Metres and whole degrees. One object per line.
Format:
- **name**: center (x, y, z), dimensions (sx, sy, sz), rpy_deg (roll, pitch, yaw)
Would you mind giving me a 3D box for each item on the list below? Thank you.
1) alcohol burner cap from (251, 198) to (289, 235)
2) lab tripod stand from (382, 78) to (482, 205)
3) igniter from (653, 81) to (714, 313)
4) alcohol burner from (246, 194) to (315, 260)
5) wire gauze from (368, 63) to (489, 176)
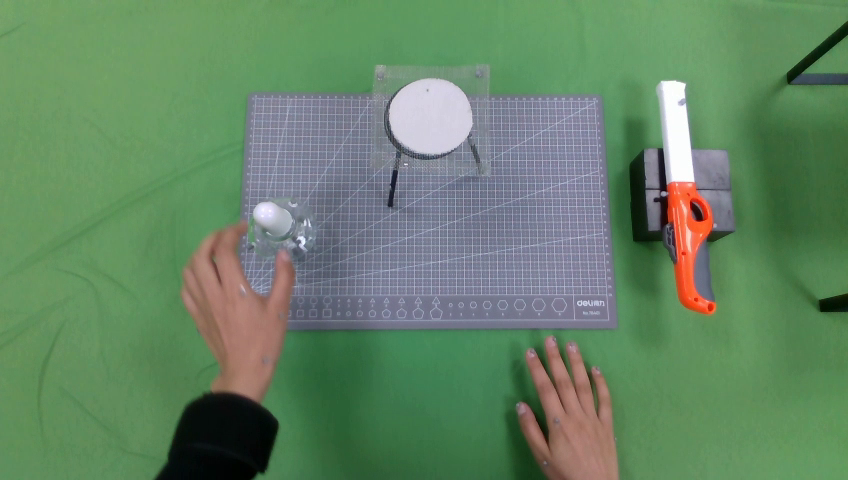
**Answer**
- **alcohol burner cap**: center (-0.165, -0.026, 0.637), dimensions (0.034, 0.048, 0.033), rpy_deg (-1, 77, 6)
- **lab tripod stand**: center (-0.002, -0.115, 0.688), dimensions (0.148, 0.132, 0.147), rpy_deg (0, 77, 1)
- **igniter**: center (0.293, -0.053, 0.691), dimensions (0.057, 0.025, 0.275), rpy_deg (0, 75, -4)
- **alcohol burner**: center (-0.163, -0.018, 0.672), dimensions (0.078, 0.119, 0.077), rpy_deg (0, 79, 0)
- **wire gauze**: center (0.006, -0.126, 0.622), dimensions (0.125, 0.011, 0.121), rpy_deg (3, 77, 0)
